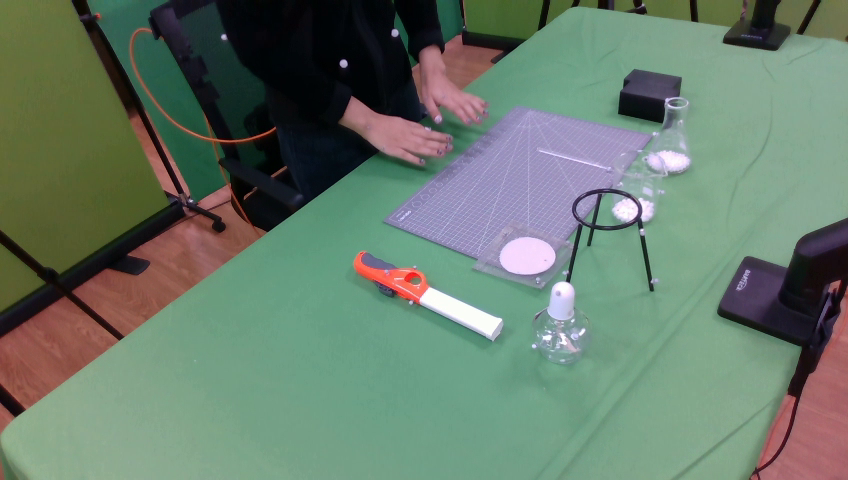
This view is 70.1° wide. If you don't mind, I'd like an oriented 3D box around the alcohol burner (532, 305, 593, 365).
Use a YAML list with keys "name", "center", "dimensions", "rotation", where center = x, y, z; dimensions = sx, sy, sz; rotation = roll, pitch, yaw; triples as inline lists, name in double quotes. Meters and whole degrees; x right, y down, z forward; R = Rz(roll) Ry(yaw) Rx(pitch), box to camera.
- name: "alcohol burner"
  center: [0.174, 0.100, 0.761]
  dimensions: [0.078, 0.119, 0.077]
  rotation: [-6, 38, 5]

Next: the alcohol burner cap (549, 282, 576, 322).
- name: "alcohol burner cap"
  center: [0.171, 0.073, 0.737]
  dimensions: [0.034, 0.048, 0.033]
  rotation: [-2, 38, 2]

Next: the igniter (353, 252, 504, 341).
- name: "igniter"
  center: [-0.005, 0.077, 0.889]
  dimensions: [0.274, 0.025, 0.057]
  rotation: [23, 59, 33]

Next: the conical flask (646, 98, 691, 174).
- name: "conical flask"
  center: [0.426, -0.180, 1.037]
  dimensions: [0.075, 0.122, 0.075]
  rotation: [-5, 40, 5]

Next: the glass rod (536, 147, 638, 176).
- name: "glass rod"
  center: [0.294, -0.145, 1.104]
  dimensions: [0.198, 0.008, 0.008]
  rotation: [22, 50, 31]

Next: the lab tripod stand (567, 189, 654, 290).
- name: "lab tripod stand"
  center: [0.251, 0.003, 0.845]
  dimensions: [0.148, 0.132, 0.147]
  rotation: [-7, 39, 6]

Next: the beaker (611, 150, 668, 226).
- name: "beaker"
  center: [0.337, -0.079, 0.953]
  dimensions: [0.083, 0.101, 0.074]
  rotation: [25, 51, 33]

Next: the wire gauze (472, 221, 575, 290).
- name: "wire gauze"
  center: [0.158, 0.024, 0.933]
  dimensions: [0.120, 0.011, 0.125]
  rotation: [21, 49, 31]
